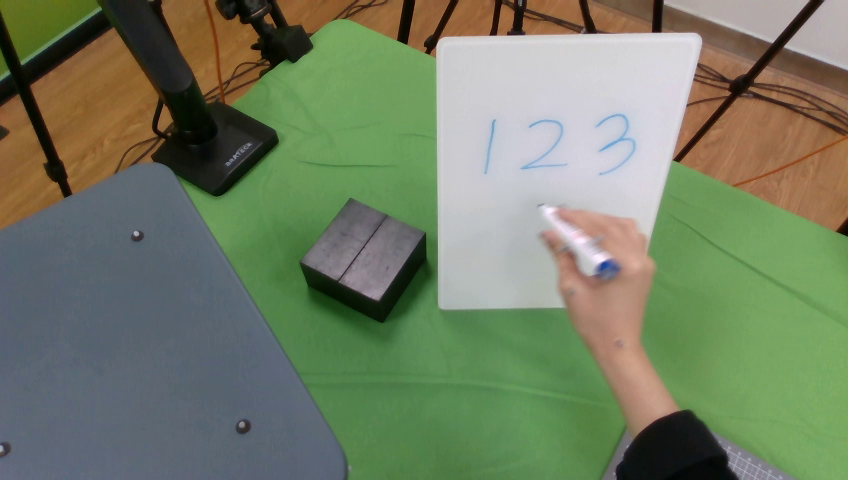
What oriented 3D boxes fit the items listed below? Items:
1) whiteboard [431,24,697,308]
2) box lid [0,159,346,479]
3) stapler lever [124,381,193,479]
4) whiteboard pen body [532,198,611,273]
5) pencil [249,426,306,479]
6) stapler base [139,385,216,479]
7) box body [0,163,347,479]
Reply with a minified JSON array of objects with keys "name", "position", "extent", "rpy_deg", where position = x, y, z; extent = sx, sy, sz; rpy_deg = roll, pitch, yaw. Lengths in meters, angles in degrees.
[{"name":"whiteboard","position":[0.116,-0.090,0.630],"extent":[0.217,0.308,0.142],"rpy_deg":[-1,38,0]},{"name":"box lid","position":[-0.257,0.103,0.468],"extent":[0.263,0.015,0.368],"rpy_deg":[-31,63,-18]},{"name":"stapler lever","position":[-0.245,0.185,0.547],"extent":[0.026,0.040,0.117],"rpy_deg":[2,58,23]},{"name":"whiteboard pen body","position":[0.116,-0.010,0.502],"extent":[0.017,0.017,0.139],"rpy_deg":[-12,27,-8]},{"name":"pencil","position":[-0.178,0.242,0.548],"extent":[0.012,0.012,0.193],"rpy_deg":[32,52,19]},{"name":"stapler base","position":[-0.238,0.196,0.567],"extent":[0.041,0.025,0.129],"rpy_deg":[2,60,23]},{"name":"box body","position":[-0.255,0.144,0.529],"extent":[0.254,0.162,0.360],"rpy_deg":[-31,63,-18]}]
